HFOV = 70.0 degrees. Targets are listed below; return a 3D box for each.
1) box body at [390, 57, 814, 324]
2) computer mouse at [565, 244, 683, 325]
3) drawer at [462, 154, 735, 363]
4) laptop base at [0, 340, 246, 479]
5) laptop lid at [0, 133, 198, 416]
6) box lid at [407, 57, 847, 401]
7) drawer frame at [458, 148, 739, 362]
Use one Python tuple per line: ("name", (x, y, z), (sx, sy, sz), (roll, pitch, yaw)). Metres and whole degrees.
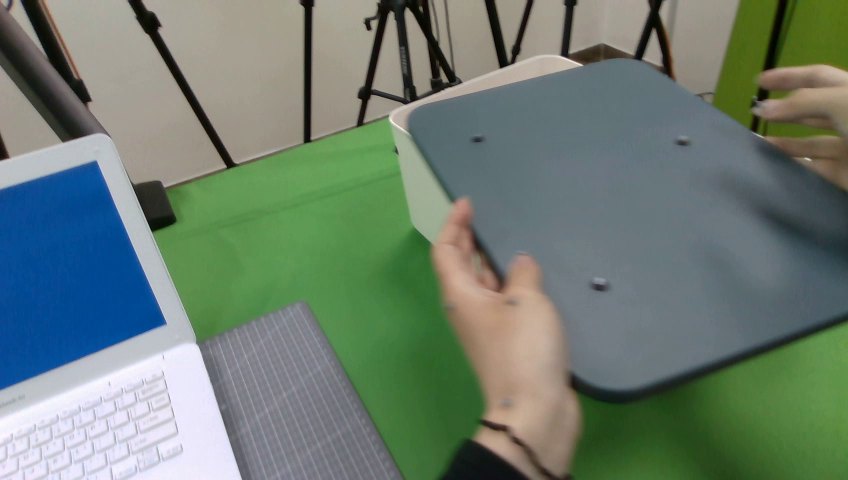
("box body", (0.161, -0.045, 0.659), (0.254, 0.162, 0.360), (-26, 42, -23))
("computer mouse", (0.211, 0.044, 0.642), (0.117, 0.041, 0.062), (-22, 45, -7))
("drawer", (0.176, 0.006, 0.652), (0.195, 0.074, 0.209), (-24, 43, -17))
("laptop base", (-0.336, 0.230, 0.502), (0.355, 0.023, 0.233), (-22, 44, -19))
("laptop lid", (-0.427, 0.061, 0.562), (0.357, 0.242, 0.013), (-24, 12, -19))
("box lid", (0.155, -0.048, 0.485), (0.264, 0.015, 0.367), (-16, 41, -10))
("drawer frame", (0.176, 0.003, 0.652), (0.202, 0.083, 0.211), (-23, 40, -19))
